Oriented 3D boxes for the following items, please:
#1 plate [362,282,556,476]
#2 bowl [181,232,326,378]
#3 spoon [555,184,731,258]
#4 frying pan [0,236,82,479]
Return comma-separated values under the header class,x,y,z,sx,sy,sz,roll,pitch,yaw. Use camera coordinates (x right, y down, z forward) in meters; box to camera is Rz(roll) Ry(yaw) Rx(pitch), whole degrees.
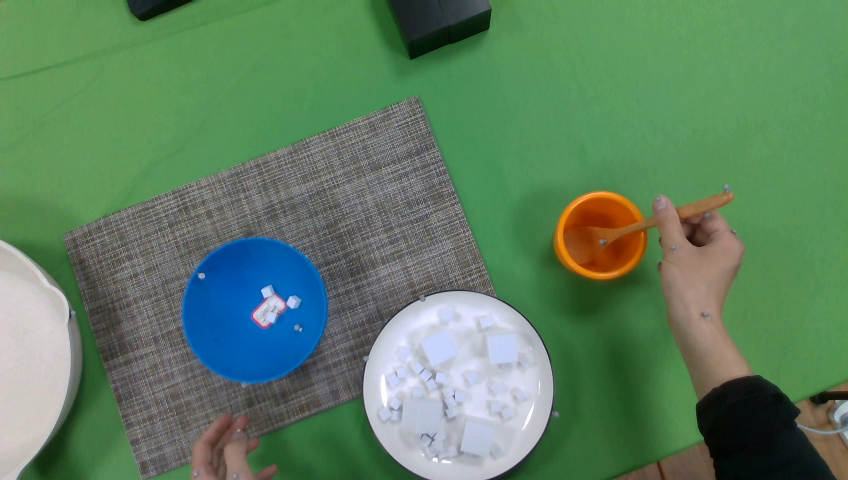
class,x,y,z,sx,sy,sz,roll,pitch,yaw
plate,0.038,0.149,0.666,0.207,0.039,0.207,0,88,2
bowl,-0.174,0.069,0.659,0.151,0.077,0.151,0,86,2
spoon,0.215,-0.019,0.618,0.022,0.193,0.041,-10,82,-41
frying pan,-0.474,0.221,0.649,0.307,0.103,0.485,-26,77,1
